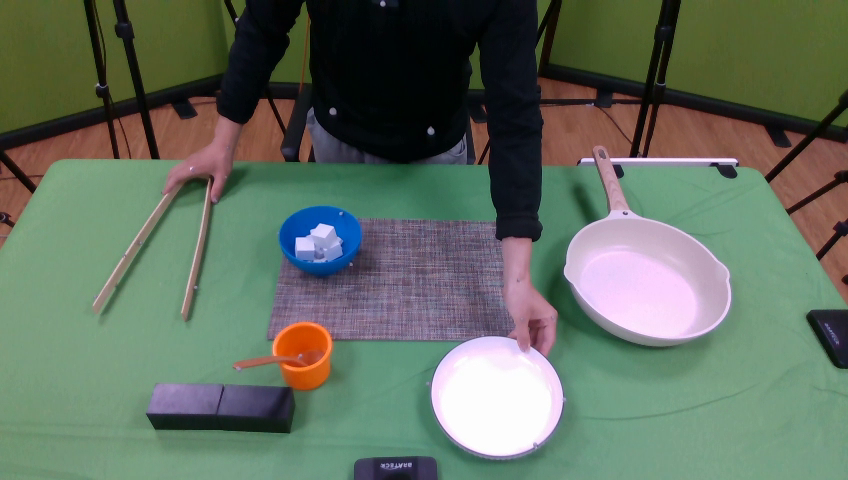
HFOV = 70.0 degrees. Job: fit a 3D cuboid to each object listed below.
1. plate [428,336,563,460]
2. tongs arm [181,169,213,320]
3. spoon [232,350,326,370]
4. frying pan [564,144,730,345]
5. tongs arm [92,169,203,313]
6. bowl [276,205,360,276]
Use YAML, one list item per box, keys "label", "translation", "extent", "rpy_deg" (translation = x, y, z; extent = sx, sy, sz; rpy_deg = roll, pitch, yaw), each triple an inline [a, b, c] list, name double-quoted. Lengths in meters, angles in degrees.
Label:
- label: "plate"
  translation: [0.110, 0.248, 0.950]
  extent: [0.208, 0.039, 0.206]
  rpy_deg: [-1, 48, 1]
- label: "tongs arm"
  translation: [-0.437, -0.006, 1.165]
  extent: [0.028, 0.028, 0.385]
  rpy_deg: [-5, 46, -5]
- label: "spoon"
  translation: [-0.216, 0.182, 0.919]
  extent: [0.041, 0.194, 0.021]
  rpy_deg: [43, 102, 27]
- label: "frying pan"
  translation: [0.396, -0.008, 1.179]
  extent: [0.307, 0.103, 0.484]
  rpy_deg: [0, 55, -5]
- label: "tongs arm"
  translation: [-0.517, -0.012, 1.160]
  extent: [0.051, 0.026, 0.382]
  rpy_deg: [7, 45, 2]
- label: "bowl"
  translation: [-0.193, 0.013, 1.125]
  extent: [0.151, 0.077, 0.150]
  rpy_deg: [2, 47, -2]
